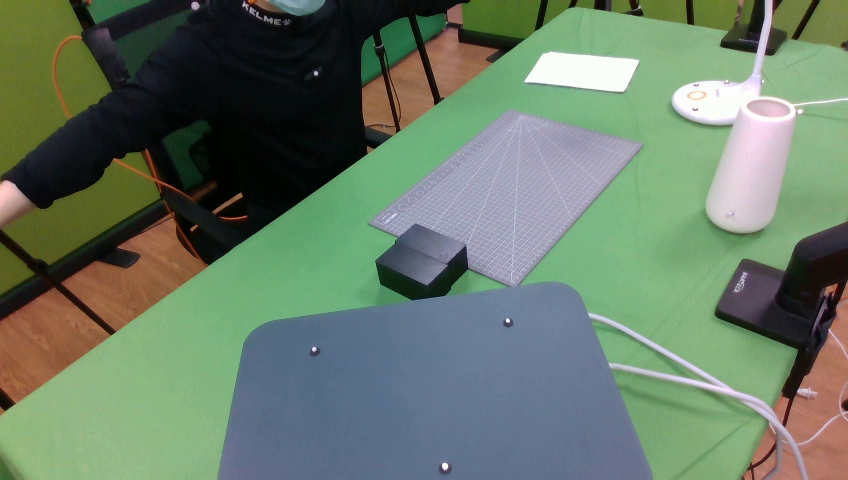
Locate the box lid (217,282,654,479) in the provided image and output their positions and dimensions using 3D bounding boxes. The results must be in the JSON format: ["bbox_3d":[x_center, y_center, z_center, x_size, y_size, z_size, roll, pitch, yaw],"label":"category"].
[{"bbox_3d":[-0.004,0.154,0.571,0.372,0.015,0.261,-8,40,-1],"label":"box lid"}]

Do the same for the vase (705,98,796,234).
[{"bbox_3d":[0.480,-0.104,0.889,0.098,0.201,0.097,-4,42,4],"label":"vase"}]

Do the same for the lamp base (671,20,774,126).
[{"bbox_3d":[0.581,-0.332,1.154,0.179,0.181,0.160,2,41,7],"label":"lamp base"}]

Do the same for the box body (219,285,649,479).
[{"bbox_3d":[0.005,0.209,0.619,0.364,0.161,0.252,-8,40,-1],"label":"box body"}]

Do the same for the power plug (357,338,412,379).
[{"bbox_3d":[-0.053,0.159,0.798,0.073,0.035,0.052,20,49,-15],"label":"power plug"}]

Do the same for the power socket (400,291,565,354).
[{"bbox_3d":[0.079,0.111,0.823,0.227,0.033,0.072,-5,41,1],"label":"power socket"}]

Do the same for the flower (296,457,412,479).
[{"bbox_3d":[0.017,0.270,0.655,0.360,0.038,0.044,3,18,21],"label":"flower"}]
